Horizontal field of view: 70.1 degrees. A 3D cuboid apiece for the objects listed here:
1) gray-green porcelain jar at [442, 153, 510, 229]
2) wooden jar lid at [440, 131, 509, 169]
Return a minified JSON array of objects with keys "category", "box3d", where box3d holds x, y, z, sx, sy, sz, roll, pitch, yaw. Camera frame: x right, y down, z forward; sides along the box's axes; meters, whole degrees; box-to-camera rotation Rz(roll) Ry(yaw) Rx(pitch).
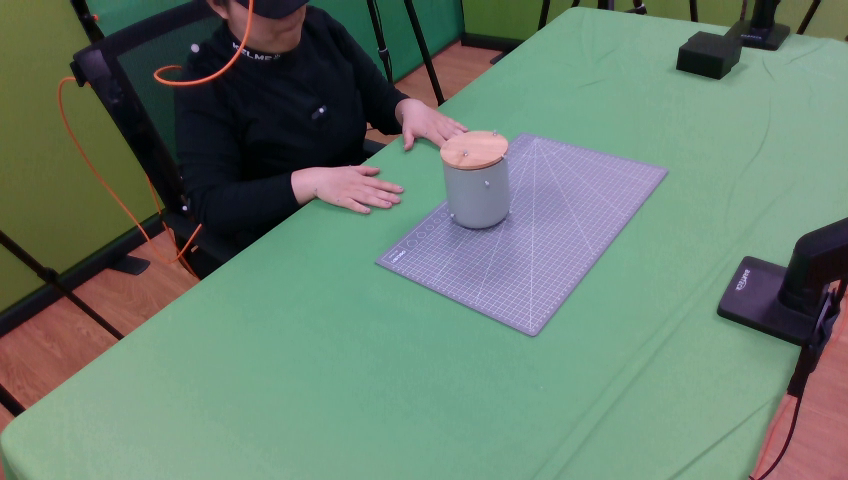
[{"category":"gray-green porcelain jar","box3d":[0.088,-0.091,0.989,0.106,0.127,0.105,-5,40,5]},{"category":"wooden jar lid","box3d":[0.079,-0.137,0.948,0.108,0.021,0.108,-5,38,5]}]
